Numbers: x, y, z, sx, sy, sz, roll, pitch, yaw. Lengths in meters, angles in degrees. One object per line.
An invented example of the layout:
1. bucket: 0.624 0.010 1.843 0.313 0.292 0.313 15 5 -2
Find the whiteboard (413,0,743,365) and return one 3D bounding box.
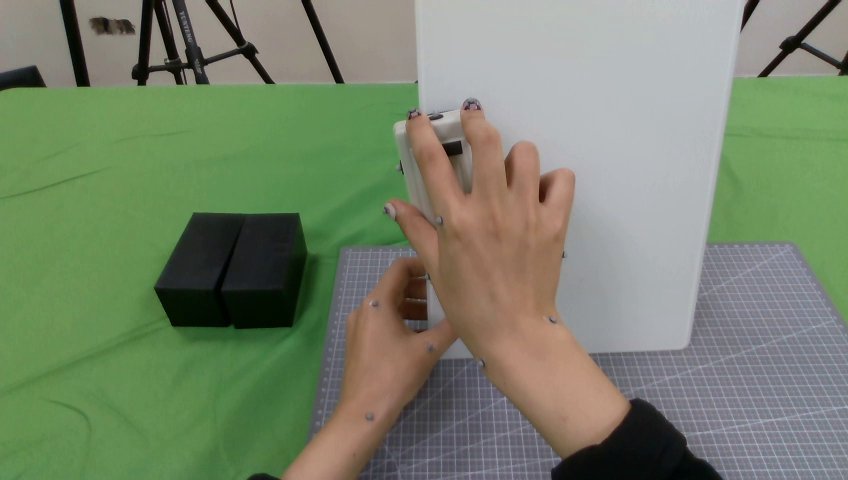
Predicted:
1. whiteboard: 0.105 -0.068 0.503 0.217 0.307 0.143 -2 23 0

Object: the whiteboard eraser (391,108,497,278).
1. whiteboard eraser: 0.016 -0.032 0.423 0.055 0.113 0.041 -13 21 1
